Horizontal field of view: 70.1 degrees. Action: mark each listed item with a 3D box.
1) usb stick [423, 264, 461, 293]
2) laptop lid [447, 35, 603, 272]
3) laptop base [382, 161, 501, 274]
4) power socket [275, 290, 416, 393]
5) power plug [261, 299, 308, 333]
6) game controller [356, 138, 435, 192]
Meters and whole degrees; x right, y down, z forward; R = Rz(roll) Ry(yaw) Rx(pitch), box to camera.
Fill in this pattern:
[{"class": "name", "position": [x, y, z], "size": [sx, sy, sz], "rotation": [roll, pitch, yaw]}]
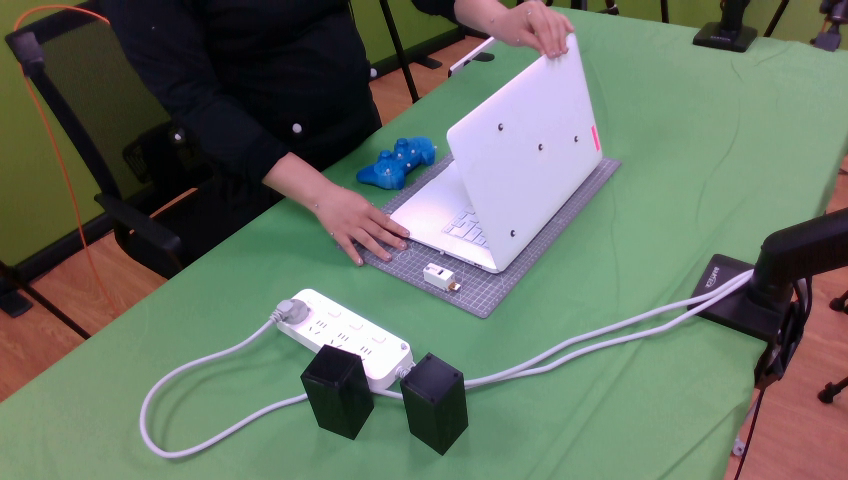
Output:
[{"class": "usb stick", "position": [0.028, 0.058, 0.889], "size": [0.059, 0.027, 0.021], "rotation": [23, 45, 29]}, {"class": "laptop lid", "position": [0.176, -0.143, 0.933], "size": [0.013, 0.243, 0.358], "rotation": [5, 36, 44]}, {"class": "laptop base", "position": [0.123, -0.081, 1.048], "size": [0.233, 0.023, 0.355], "rotation": [20, 47, 33]}, {"class": "power socket", "position": [-0.114, 0.133, 0.821], "size": [0.225, 0.033, 0.072], "rotation": [24, 48, 31]}, {"class": "power plug", "position": [-0.193, 0.109, 0.830], "size": [0.073, 0.053, 0.035], "rotation": [-35, 48, -23]}, {"class": "game controller", "position": [-0.049, -0.149, 1.136], "size": [0.096, 0.052, 0.155], "rotation": [27, 51, 28]}]
